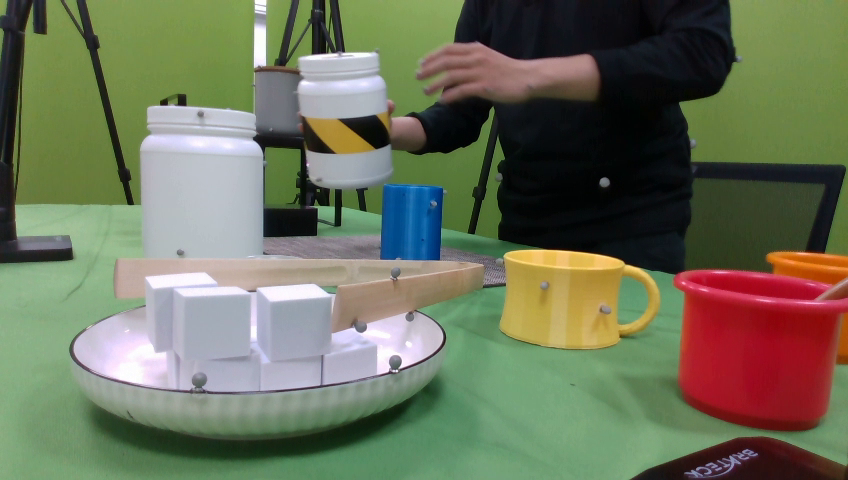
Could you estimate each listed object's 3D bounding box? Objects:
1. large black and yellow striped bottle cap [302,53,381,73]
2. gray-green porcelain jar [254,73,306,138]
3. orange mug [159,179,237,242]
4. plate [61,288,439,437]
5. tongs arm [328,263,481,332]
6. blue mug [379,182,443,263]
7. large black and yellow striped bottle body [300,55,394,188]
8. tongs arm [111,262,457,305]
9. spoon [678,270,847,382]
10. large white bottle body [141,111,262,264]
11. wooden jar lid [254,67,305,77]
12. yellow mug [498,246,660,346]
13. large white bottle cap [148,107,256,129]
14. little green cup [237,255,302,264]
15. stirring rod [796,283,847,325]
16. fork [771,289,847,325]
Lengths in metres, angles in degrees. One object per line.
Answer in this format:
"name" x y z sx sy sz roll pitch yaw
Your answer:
"large black and yellow striped bottle cap" -0.121 -0.259 0.881 0.115 0.019 0.115 -3 20 1
"gray-green porcelain jar" -0.298 -0.277 1.259 0.106 0.126 0.106 3 7 0
"orange mug" -0.368 -0.052 0.991 0.127 0.101 0.083 -10 14 -41
"plate" -0.095 0.069 0.362 0.208 0.039 0.207 3 7 0
"tongs arm" -0.003 0.036 0.493 0.050 0.026 0.386 1 -1 19
"blue mug" -0.020 -0.026 0.833 0.082 0.106 0.116 1 7 -7
"large black and yellow striped bottle body" -0.116 -0.182 0.913 0.131 0.184 0.130 -2 21 1
"tongs arm" -0.080 0.033 0.527 0.028 0.027 0.389 -3 -4 33
"spoon" 0.229 0.031 0.338 0.193 0.021 0.042 -44 -17 27
"large white bottle body" -0.254 -0.053 0.697 0.131 0.184 0.130 2 7 0
"wooden jar lid" -0.296 -0.339 1.251 0.108 0.020 0.108 2 7 0
"yellow mug" 0.130 0.045 0.508 0.131 0.064 0.100 4 7 6
"large white bottle cap" -0.250 -0.137 0.686 0.115 0.018 0.115 3 8 0
"little green cup" -0.150 0.038 0.590 0.061 0.038 0.061 3 7 0
"stirring rod" 0.346 0.019 0.460 0.014 0.176 0.006 -17 59 -26
"fork" 0.335 0.018 0.443 0.028 0.018 0.207 -1 -36 -20
